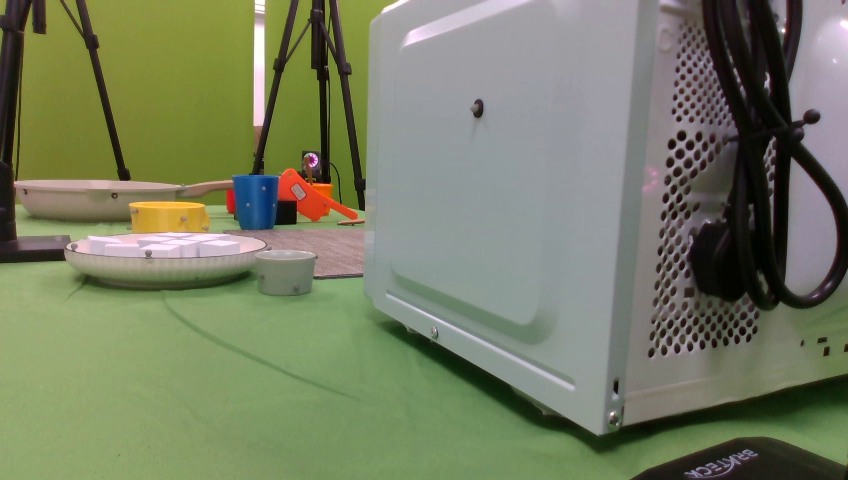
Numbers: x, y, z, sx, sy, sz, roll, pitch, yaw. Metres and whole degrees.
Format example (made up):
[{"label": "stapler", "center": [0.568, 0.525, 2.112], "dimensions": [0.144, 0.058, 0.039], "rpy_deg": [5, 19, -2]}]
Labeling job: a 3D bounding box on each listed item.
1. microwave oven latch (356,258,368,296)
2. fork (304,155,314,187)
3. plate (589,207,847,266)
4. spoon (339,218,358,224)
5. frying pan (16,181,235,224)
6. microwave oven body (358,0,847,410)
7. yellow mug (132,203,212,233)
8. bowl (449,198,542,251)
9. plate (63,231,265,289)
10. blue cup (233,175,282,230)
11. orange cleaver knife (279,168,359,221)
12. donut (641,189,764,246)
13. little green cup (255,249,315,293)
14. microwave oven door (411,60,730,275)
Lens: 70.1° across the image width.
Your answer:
[{"label": "microwave oven latch", "center": [-0.019, 0.031, 0.528], "dimensions": [0.079, 0.029, 0.030], "rpy_deg": [-1, 7, -24]}, {"label": "fork", "center": [-0.268, -0.134, 1.447], "dimensions": [0.028, 0.018, 0.207], "rpy_deg": [2, -36, -1]}, {"label": "plate", "center": [0.245, -0.005, 0.509], "dimensions": [0.209, 0.038, 0.209], "rpy_deg": [2, 4, 0]}, {"label": "spoon", "center": [-0.087, -0.041, 1.268], "dimensions": [0.193, 0.021, 0.041], "rpy_deg": [3, 18, 14]}, {"label": "frying pan", "center": [-0.553, -0.097, 1.266], "dimensions": [0.490, 0.102, 0.305], "rpy_deg": [-10, 13, -24]}, {"label": "microwave oven body", "center": [0.210, -0.051, 0.472], "dimensions": [0.444, 0.260, 0.324], "rpy_deg": [-1, 7, -28]}, {"label": "yellow mug", "center": [-0.356, -0.020, 0.878], "dimensions": [0.099, 0.064, 0.131], "rpy_deg": [5, 7, 22]}, {"label": "bowl", "center": [0.115, -0.025, 0.988], "dimensions": [0.151, 0.077, 0.151], "rpy_deg": [2, 8, 0]}, {"label": "plate", "center": [-0.288, 0.021, 0.687], "dimensions": [0.208, 0.039, 0.207], "rpy_deg": [2, 8, 0]}, {"label": "blue cup", "center": [-0.314, -0.071, 1.141], "dimensions": [0.093, 0.100, 0.092], "rpy_deg": [0, 7, 0]}, {"label": "orange cleaver knife", "center": [-0.237, -0.084, 1.333], "dimensions": [0.212, 0.077, 0.012], "rpy_deg": [31, -10, -32]}, {"label": "donut", "center": [0.237, -0.018, 0.520], "dimensions": [0.099, 0.048, 0.099], "rpy_deg": [6, 6, 0]}, {"label": "little green cup", "center": [-0.144, 0.031, 0.627], "dimensions": [0.061, 0.038, 0.061], "rpy_deg": [2, 6, 0]}, {"label": "microwave oven door", "center": [0.165, -0.090, 0.725], "dimensions": [0.355, 0.243, 0.039], "rpy_deg": [3, 8, 9]}]
